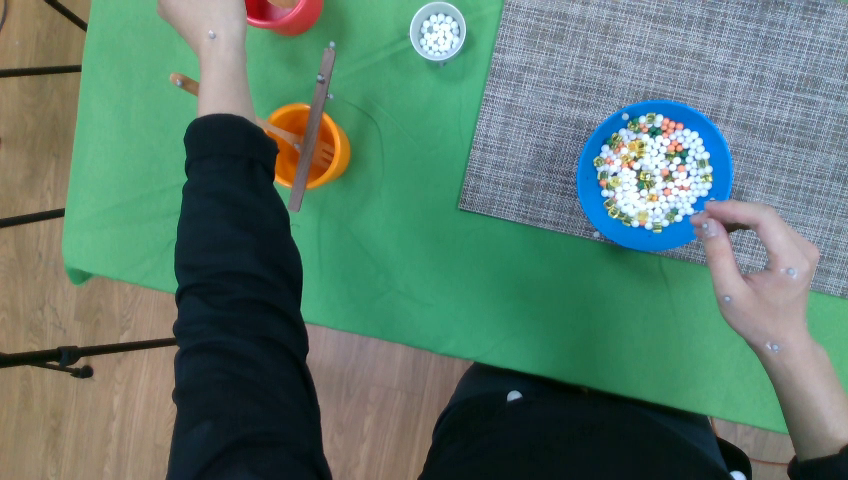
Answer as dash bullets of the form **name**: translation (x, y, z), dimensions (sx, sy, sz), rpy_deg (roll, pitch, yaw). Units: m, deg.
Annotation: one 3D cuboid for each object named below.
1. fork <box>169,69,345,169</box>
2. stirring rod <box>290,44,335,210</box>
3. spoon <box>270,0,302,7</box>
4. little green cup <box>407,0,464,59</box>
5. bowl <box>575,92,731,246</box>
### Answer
- **fork**: translation (-0.172, -0.127, 0.651), dimensions (0.209, 0.018, 0.028), rpy_deg (25, 104, -40)
- **stirring rod**: translation (-0.118, -0.118, 0.642), dimensions (0.014, 0.006, 0.176), rpy_deg (14, 98, 7)
- **spoon**: translation (-0.200, -0.289, 0.595), dimensions (0.021, 0.195, 0.041), rpy_deg (18, 89, 43)
- **little green cup**: translation (0.015, -0.231, 0.671), dimensions (0.061, 0.038, 0.061), rpy_deg (1, 97, 8)
- **bowl**: translation (0.232, -0.072, 0.639), dimensions (0.151, 0.077, 0.151), rpy_deg (1, 96, 7)
